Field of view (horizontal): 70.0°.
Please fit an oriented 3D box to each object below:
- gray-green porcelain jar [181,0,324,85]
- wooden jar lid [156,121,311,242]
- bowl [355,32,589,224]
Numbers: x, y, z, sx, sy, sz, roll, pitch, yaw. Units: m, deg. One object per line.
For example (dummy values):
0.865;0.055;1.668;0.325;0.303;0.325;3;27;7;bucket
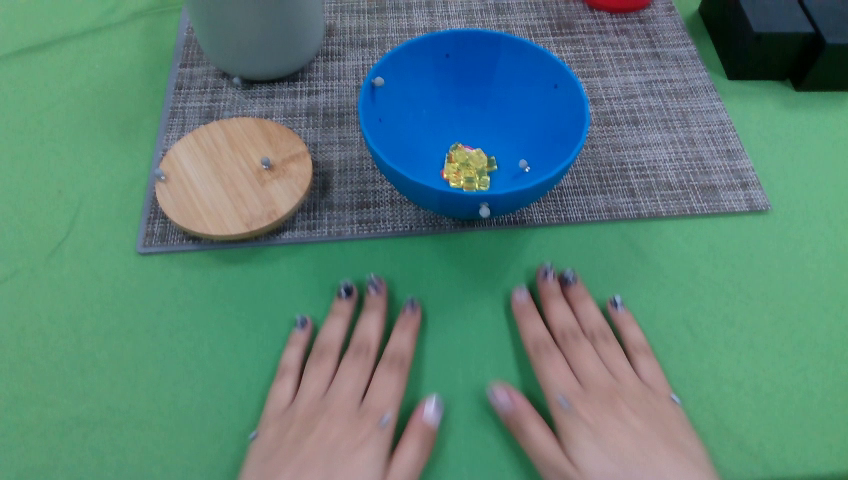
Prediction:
-0.136;-0.196;0.475;0.106;0.127;0.105;1;56;-1;gray-green porcelain jar
-0.135;-0.041;0.437;0.108;0.021;0.107;0;56;0;wooden jar lid
0.031;-0.064;0.422;0.151;0.077;0.150;1;57;-1;bowl
